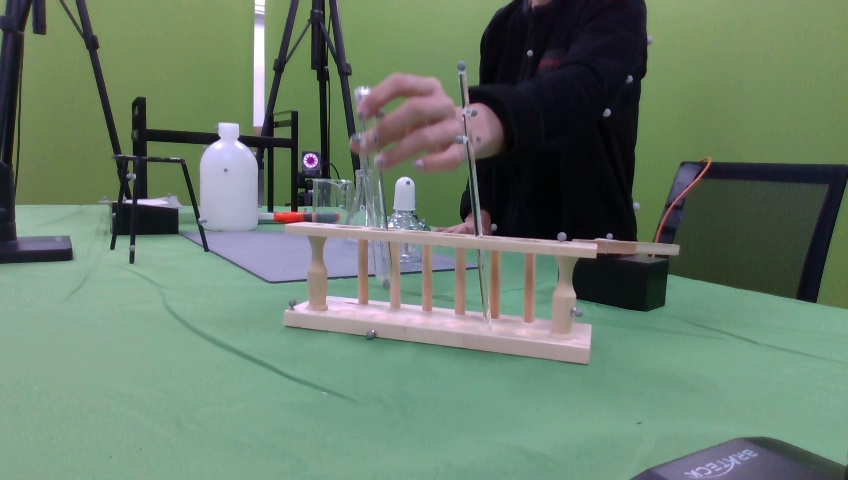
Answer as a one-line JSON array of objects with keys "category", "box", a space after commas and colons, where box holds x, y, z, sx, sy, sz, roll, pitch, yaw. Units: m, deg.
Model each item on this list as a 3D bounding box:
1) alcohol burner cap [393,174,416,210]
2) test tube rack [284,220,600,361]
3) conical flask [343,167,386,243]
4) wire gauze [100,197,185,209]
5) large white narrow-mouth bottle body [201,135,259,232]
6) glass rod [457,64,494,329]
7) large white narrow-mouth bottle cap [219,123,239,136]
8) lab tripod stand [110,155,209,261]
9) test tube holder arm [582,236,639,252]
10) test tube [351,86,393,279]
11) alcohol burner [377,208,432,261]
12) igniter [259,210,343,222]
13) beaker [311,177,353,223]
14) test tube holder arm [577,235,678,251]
[{"category": "alcohol burner cap", "box": [-0.025, -0.067, 0.833, 0.034, 0.048, 0.034, 4, 12, -1]}, {"category": "test tube rack", "box": [0.013, 0.032, 0.482, 0.242, 0.085, 0.067, 4, 7, 16]}, {"category": "conical flask", "box": [-0.096, -0.059, 1.000, 0.075, 0.122, 0.075, 2, 8, 0]}, {"category": "wire gauze", "box": [-0.469, -0.062, 1.008, 0.126, 0.011, 0.121, -2, 8, -25]}, {"category": "large white narrow-mouth bottle body", "box": [-0.358, -0.116, 1.116, 0.102, 0.194, 0.102, 2, 8, 0]}, {"category": "glass rod", "box": [0.039, -0.029, 0.449, 0.008, 0.199, 0.008, -7, 9, 1]}, {"category": "large white narrow-mouth bottle cap", "box": [-0.356, -0.201, 1.104, 0.038, 0.024, 0.037, 2, 8, 0]}, {"category": "lab tripod stand", "box": [-0.361, -0.046, 0.806, 0.148, 0.131, 0.148, 2, 5, 0]}, {"category": "test tube holder arm", "box": [0.194, 0.005, 0.629, 0.088, 0.015, 0.010, 2, 14, -38]}, {"category": "test tube", "box": [-0.040, -0.044, 0.471, 0.017, 0.150, 0.017, -7, 5, 1]}, {"category": "alcohol burner", "box": [-0.027, -0.031, 0.838, 0.078, 0.119, 0.078, 0, 6, 0]}, {"category": "igniter", "box": [-0.303, -0.049, 1.258, 0.278, 0.025, 0.057, -2, -2, -28]}, {"category": "beaker", "box": [-0.167, -0.064, 1.106, 0.074, 0.100, 0.083, -2, 9, -27]}, {"category": "test tube holder arm", "box": [0.226, 0.004, 0.662, 0.179, 0.015, 0.013, 1, 14, -39]}]
